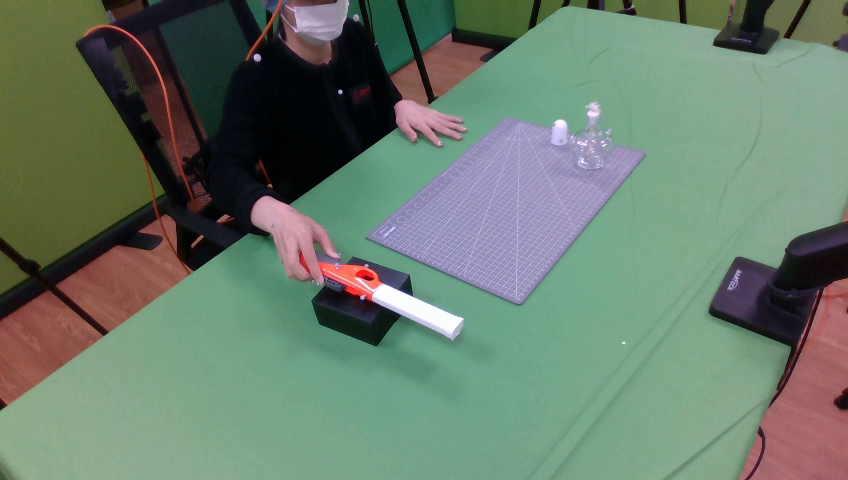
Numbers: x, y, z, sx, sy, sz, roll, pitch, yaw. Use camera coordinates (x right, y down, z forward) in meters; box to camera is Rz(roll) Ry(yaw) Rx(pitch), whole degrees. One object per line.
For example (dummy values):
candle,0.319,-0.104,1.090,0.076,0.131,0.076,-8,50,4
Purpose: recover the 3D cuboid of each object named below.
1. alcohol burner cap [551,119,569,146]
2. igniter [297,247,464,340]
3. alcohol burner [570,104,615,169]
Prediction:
alcohol burner cap,0.261,-0.207,1.156,0.034,0.048,0.033,-5,41,5
igniter,-0.070,0.067,0.828,0.274,0.025,0.057,22,42,26
alcohol burner,0.299,-0.186,1.071,0.078,0.119,0.077,-6,41,6
